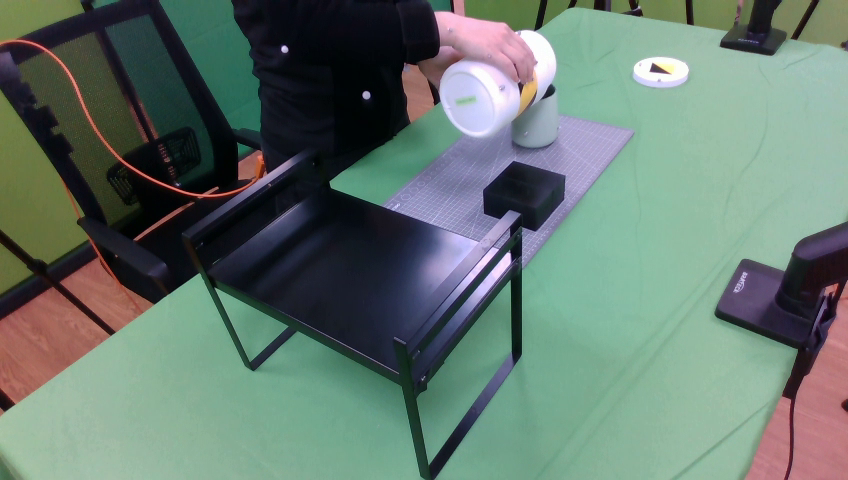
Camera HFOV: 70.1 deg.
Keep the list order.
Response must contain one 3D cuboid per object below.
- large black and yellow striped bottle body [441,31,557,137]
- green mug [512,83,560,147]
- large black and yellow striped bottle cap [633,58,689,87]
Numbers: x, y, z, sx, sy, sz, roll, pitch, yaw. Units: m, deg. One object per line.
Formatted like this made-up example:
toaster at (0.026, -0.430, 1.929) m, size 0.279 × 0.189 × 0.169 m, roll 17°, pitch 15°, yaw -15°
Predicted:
large black and yellow striped bottle body at (0.132, -0.270, 1.025) m, size 0.129 × 0.131 × 0.184 m, roll 26°, pitch 50°, yaw 33°
green mug at (0.217, -0.251, 1.169) m, size 0.092 × 0.105 × 0.125 m, roll 2°, pitch 41°, yaw 12°
large black and yellow striped bottle cap at (0.522, -0.370, 1.331) m, size 0.115 × 0.019 × 0.114 m, roll -3°, pitch 41°, yaw 4°
